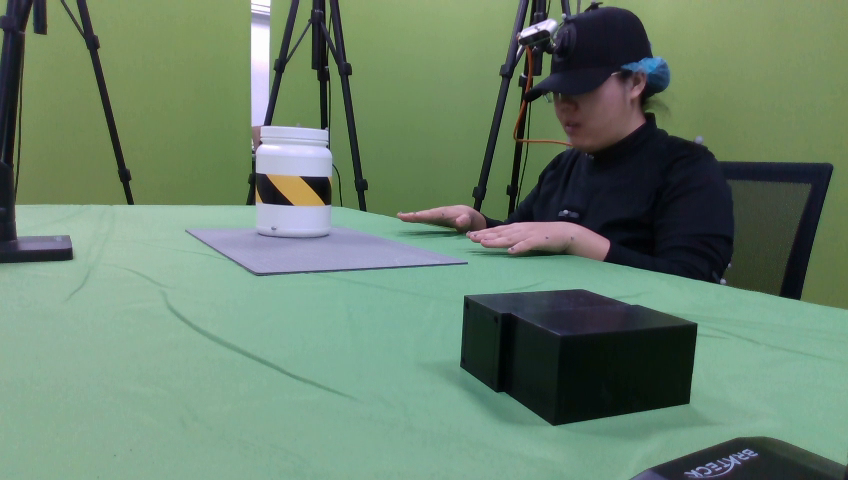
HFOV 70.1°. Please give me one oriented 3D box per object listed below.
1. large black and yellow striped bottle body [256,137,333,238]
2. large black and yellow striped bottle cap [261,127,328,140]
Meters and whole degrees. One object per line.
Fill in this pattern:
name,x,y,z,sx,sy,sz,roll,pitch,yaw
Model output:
large black and yellow striped bottle body,-0.228,-0.102,1.063,0.131,0.184,0.130,3,8,0
large black and yellow striped bottle cap,-0.224,-0.184,1.051,0.115,0.019,0.115,2,7,0
